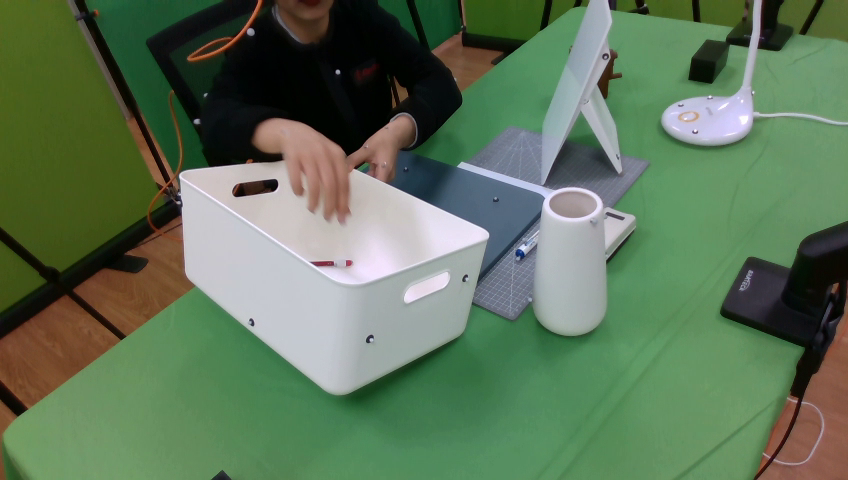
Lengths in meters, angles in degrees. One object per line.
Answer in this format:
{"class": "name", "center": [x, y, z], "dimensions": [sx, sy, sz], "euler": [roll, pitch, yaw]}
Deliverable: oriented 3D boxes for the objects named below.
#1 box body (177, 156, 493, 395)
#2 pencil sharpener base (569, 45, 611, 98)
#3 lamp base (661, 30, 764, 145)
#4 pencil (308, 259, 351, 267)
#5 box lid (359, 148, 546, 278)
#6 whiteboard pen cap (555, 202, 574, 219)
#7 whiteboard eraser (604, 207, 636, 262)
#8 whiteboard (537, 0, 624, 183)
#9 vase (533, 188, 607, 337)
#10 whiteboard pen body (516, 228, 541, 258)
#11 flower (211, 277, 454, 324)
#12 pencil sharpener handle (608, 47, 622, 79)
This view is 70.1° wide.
{"class": "box body", "center": [-0.130, 0.024, 0.814], "dimensions": [0.361, 0.160, 0.256], "euler": [27, 29, 35]}
{"class": "pencil sharpener base", "center": [0.346, -0.352, 1.263], "dimensions": [0.077, 0.107, 0.061], "euler": [-10, 40, -1]}
{"class": "lamp base", "center": [0.535, -0.287, 1.096], "dimensions": [0.179, 0.181, 0.159], "euler": [-10, 40, -4]}
{"class": "pencil", "center": [-0.208, 0.038, 0.931], "dimensions": [0.195, 0.012, 0.012], "euler": [-1, 36, -22]}
{"class": "box lid", "center": [-0.002, -0.055, 1.052], "dimensions": [0.368, 0.015, 0.264], "euler": [23, 49, 32]}
{"class": "whiteboard pen cap", "center": [0.230, -0.048, 0.994], "dimensions": [0.018, 0.018, 0.033], "euler": [26, 54, 34]}
{"class": "whiteboard eraser", "center": [0.272, -0.003, 0.919], "dimensions": [0.055, 0.042, 0.113], "euler": [27, 51, 32]}
{"class": "whiteboard", "center": [0.316, -0.256, 1.047], "dimensions": [0.144, 0.306, 0.216], "euler": [15, 42, -1]}
{"class": "vase", "center": [0.187, 0.033, 0.771], "dimensions": [0.098, 0.201, 0.097], "euler": [-6, 41, 6]}
{"class": "whiteboard pen body", "center": [0.192, -0.015, 0.964], "dimensions": [0.017, 0.017, 0.141], "euler": [26, 51, 34]}
{"class": "flower", "center": [-0.135, 0.077, 0.864], "dimensions": [0.361, 0.044, 0.038], "euler": [6, 1, 8]}
{"class": "pencil sharpener handle", "center": [0.395, -0.369, 1.254], "dimensions": [0.031, 0.068, 0.036], "euler": [-10, 32, -1]}
